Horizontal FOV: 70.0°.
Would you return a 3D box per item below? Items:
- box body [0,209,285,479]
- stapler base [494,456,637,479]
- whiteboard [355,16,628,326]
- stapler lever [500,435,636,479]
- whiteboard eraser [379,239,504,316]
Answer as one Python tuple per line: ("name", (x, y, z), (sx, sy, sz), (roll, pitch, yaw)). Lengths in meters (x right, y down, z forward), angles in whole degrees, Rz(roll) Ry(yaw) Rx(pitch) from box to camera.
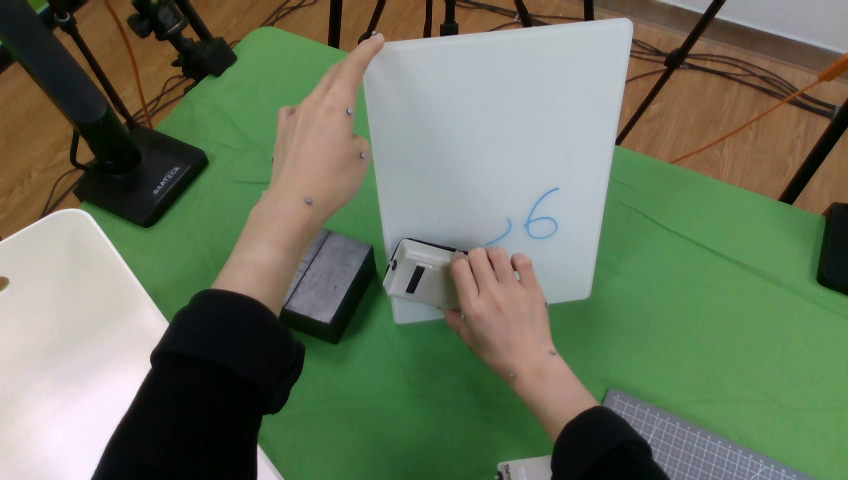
("box body", (-0.283, 0.188, 0.488), (0.254, 0.162, 0.361), (-38, 65, -21))
("stapler base", (0.131, 0.210, 0.555), (0.130, 0.024, 0.041), (-9, 54, -2))
("whiteboard", (0.055, -0.082, 0.610), (0.217, 0.308, 0.142), (-7, 39, -3))
("stapler lever", (0.128, 0.196, 0.534), (0.118, 0.040, 0.026), (-9, 54, -2))
("whiteboard eraser", (0.017, 0.036, 0.584), (0.113, 0.056, 0.041), (14, 21, -21))
